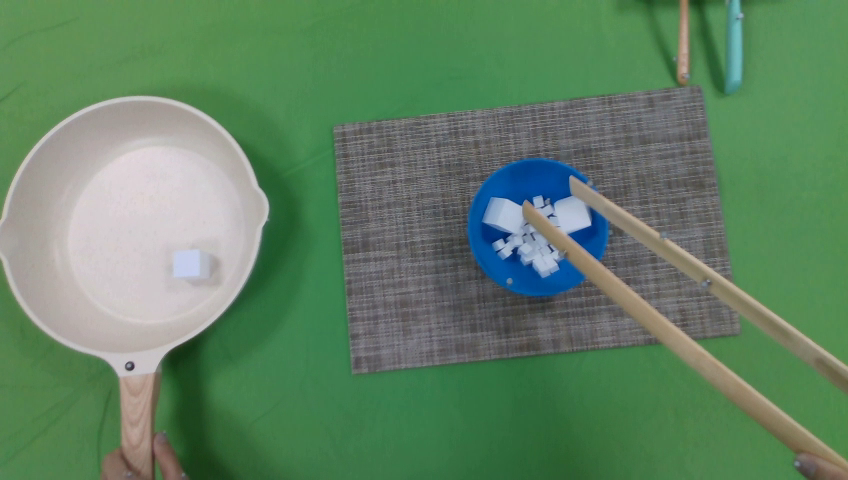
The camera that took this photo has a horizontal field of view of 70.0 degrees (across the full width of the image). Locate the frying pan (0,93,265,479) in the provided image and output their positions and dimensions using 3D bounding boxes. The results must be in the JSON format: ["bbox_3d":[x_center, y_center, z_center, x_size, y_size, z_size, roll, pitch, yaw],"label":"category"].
[{"bbox_3d":[-0.315,0.081,0.669,0.307,0.103,0.485,-7,74,1],"label":"frying pan"}]

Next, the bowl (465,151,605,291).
[{"bbox_3d":[0.119,-0.016,0.679,0.151,0.077,0.151,0,83,1],"label":"bowl"}]

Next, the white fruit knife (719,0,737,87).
[{"bbox_3d":[0.353,-0.287,0.710,0.016,0.027,0.207,-6,97,-4],"label":"white fruit knife"}]

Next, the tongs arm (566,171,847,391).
[{"bbox_3d":[0.227,0.051,0.469,0.051,0.027,0.380,-30,47,-17],"label":"tongs arm"}]

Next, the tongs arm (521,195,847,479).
[{"bbox_3d":[0.198,0.067,0.460,0.028,0.028,0.383,-27,46,-19],"label":"tongs arm"}]

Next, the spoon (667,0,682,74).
[{"bbox_3d":[0.297,-0.295,0.707,0.041,0.021,0.194,7,104,24],"label":"spoon"}]
